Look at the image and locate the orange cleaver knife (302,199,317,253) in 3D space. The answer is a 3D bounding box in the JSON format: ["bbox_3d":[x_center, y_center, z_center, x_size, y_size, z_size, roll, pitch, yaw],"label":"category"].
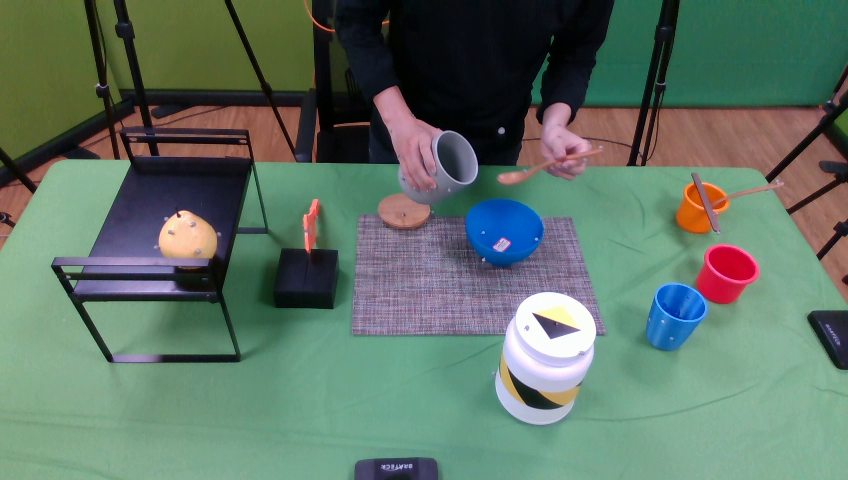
[{"bbox_3d":[-0.219,-0.031,1.168,0.012,0.077,0.210,-5,17,-3],"label":"orange cleaver knife"}]

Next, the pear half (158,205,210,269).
[{"bbox_3d":[-0.352,-0.015,0.872,0.056,0.110,0.076,26,46,20],"label":"pear half"}]

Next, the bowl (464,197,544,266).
[{"bbox_3d":[0.149,-0.004,1.168,0.151,0.077,0.150,2,46,-2],"label":"bowl"}]

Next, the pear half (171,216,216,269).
[{"bbox_3d":[-0.323,0.007,0.866,0.031,0.088,0.070,25,46,20],"label":"pear half"}]

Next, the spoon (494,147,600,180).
[{"bbox_3d":[0.211,-0.135,1.059,0.193,0.022,0.041,-15,22,33],"label":"spoon"}]

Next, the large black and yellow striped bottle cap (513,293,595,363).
[{"bbox_3d":[0.186,0.123,0.863,0.115,0.019,0.114,3,45,-3],"label":"large black and yellow striped bottle cap"}]

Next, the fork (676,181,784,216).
[{"bbox_3d":[0.618,-0.084,1.235,0.207,0.019,0.028,-23,21,38],"label":"fork"}]

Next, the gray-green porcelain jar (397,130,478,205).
[{"bbox_3d":[0.020,-0.130,1.128,0.106,0.126,0.105,18,61,-36],"label":"gray-green porcelain jar"}]

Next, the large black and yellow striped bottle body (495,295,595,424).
[{"bbox_3d":[0.183,0.181,0.923,0.131,0.185,0.130,2,46,-2],"label":"large black and yellow striped bottle body"}]

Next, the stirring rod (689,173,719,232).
[{"bbox_3d":[0.566,-0.079,1.225,0.014,0.006,0.175,2,45,2],"label":"stirring rod"}]

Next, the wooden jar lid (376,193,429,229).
[{"bbox_3d":[-0.044,-0.059,1.246,0.108,0.021,0.107,3,40,-3],"label":"wooden jar lid"}]

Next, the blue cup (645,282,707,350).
[{"bbox_3d":[0.425,0.136,1.042,0.093,0.101,0.092,1,45,-1],"label":"blue cup"}]
